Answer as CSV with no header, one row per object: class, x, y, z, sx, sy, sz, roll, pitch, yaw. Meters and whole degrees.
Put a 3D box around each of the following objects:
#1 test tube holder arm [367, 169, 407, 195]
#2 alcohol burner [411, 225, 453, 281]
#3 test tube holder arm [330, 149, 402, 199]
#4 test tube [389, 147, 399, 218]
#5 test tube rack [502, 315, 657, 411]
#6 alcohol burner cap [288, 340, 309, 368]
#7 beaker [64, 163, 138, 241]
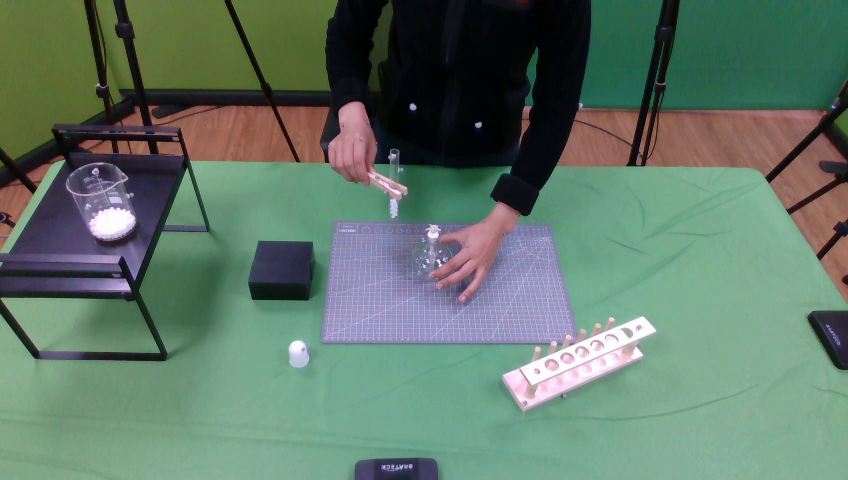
test tube holder arm,-0.066,-0.100,1.039,0.087,0.015,0.010,26,46,24
alcohol burner,0.015,0.018,1.109,0.078,0.120,0.077,1,45,-1
test tube holder arm,-0.104,-0.117,1.056,0.177,0.015,0.013,32,49,29
test tube,-0.051,-0.093,1.021,0.017,0.151,0.017,2,47,-2
test tube rack,0.253,0.186,0.988,0.242,0.085,0.066,-18,50,-20
alcohol burner cap,-0.207,0.183,0.991,0.034,0.048,0.033,3,47,-3
beaker,-0.477,-0.055,0.910,0.084,0.101,0.073,-9,48,-13
